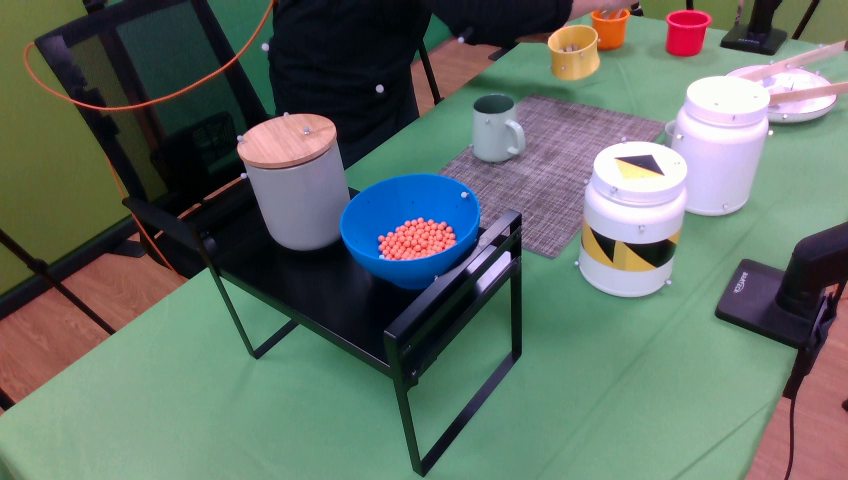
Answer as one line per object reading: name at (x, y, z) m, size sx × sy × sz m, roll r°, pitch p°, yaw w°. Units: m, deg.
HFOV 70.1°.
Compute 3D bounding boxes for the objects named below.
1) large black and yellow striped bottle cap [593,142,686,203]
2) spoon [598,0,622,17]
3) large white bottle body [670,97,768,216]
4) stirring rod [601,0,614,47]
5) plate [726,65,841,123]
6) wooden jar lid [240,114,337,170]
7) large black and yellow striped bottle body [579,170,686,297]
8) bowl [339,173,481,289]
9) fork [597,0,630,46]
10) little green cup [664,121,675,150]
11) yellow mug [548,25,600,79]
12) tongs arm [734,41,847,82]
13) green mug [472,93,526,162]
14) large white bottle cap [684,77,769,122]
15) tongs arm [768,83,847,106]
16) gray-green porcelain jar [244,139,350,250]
large black and yellow striped bottle cap at (0.280, -0.090, 0.786) m, size 0.115 × 0.019 × 0.114 m, roll -5°, pitch 41°, yaw 5°
spoon at (0.390, -0.492, 1.136) m, size 0.021 × 0.193 × 0.042 m, roll 45°, pitch 55°, yaw 8°
large white bottle body at (0.458, -0.146, 0.952) m, size 0.130 × 0.185 × 0.130 m, roll -4°, pitch 40°, yaw 4°
stirring rod at (0.439, -0.552, 1.463) m, size 0.014 × 0.006 × 0.175 m, roll -7°, pitch 83°, yaw 2°
plate at (0.695, -0.282, 1.189) m, size 0.207 × 0.039 × 0.206 m, roll -4°, pitch 40°, yaw 4°
wooden jar lid at (-0.149, -0.106, 0.673) m, size 0.108 × 0.021 × 0.108 m, roll -6°, pitch 38°, yaw 5°
large black and yellow striped bottle body at (0.287, -0.027, 0.841) m, size 0.131 × 0.185 × 0.130 m, roll -4°, pitch 40°, yaw 4°
bowl at (-0.011, 0.001, 0.660) m, size 0.151 × 0.077 × 0.150 m, roll -5°, pitch 41°, yaw 5°
fork at (0.481, -0.556, 1.452) m, size 0.028 × 0.019 × 0.207 m, roll 40°, pitch 103°, yaw 38°
little green cup at (0.472, -0.188, 1.113) m, size 0.061 × 0.039 × 0.061 m, roll -4°, pitch 40°, yaw 4°
yellow mug at (0.306, -0.400, 1.262) m, size 0.100 × 0.064 × 0.130 m, roll -23°, pitch 46°, yaw -2°
tongs arm at (0.712, -0.332, 1.194) m, size 0.386 × 0.026 × 0.050 m, roll -18°, pitch 45°, yaw -16°
green mug at (0.144, -0.202, 1.122) m, size 0.093 × 0.105 × 0.124 m, roll -29°, pitch 45°, yaw -23°
large white bottle cap at (0.448, -0.209, 0.898) m, size 0.115 × 0.018 × 0.114 m, roll -4°, pitch 40°, yaw 4°
tongs arm at (0.738, -0.282, 1.134) m, size 0.388 × 0.028 × 0.028 m, roll -9°, pitch 47°, yaw -5°
gray-green porcelain jar at (-0.144, -0.060, 0.714) m, size 0.106 × 0.127 × 0.105 m, roll -4°, pitch 41°, yaw 4°
